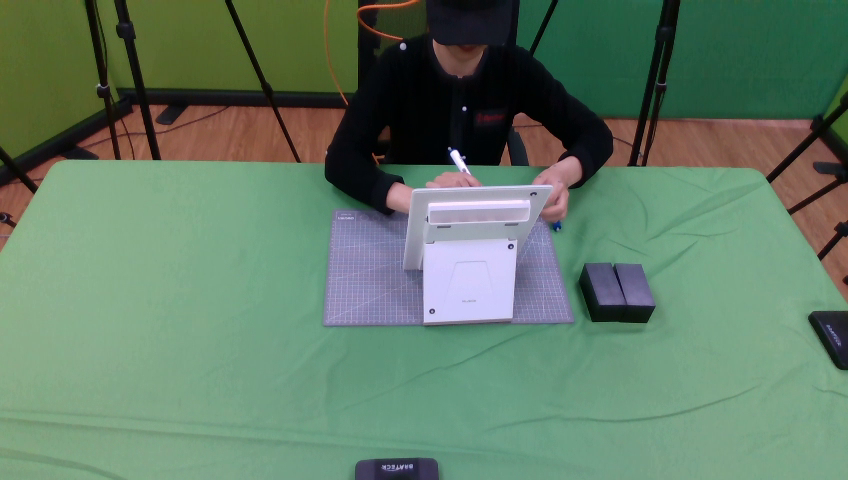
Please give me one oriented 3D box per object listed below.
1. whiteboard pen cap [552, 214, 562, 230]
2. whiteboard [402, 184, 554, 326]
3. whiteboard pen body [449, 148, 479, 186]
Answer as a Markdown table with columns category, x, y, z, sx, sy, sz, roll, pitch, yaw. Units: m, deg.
| category | x | y | z | sx | sy | sz | roll | pitch | yaw |
| --- | --- | --- | --- | --- | --- | --- | --- | --- | --- |
| whiteboard pen cap | 0.275 | -0.037 | 1.260 | 0.018 | 0.018 | 0.033 | 1 | 44 | -2 |
| whiteboard | 0.081 | 0.044 | 1.005 | 0.217 | 0.306 | 0.143 | -1 | 66 | -6 |
| whiteboard pen body | 0.083 | -0.116 | 1.122 | 0.017 | 0.017 | 0.140 | -20 | 65 | -21 |
